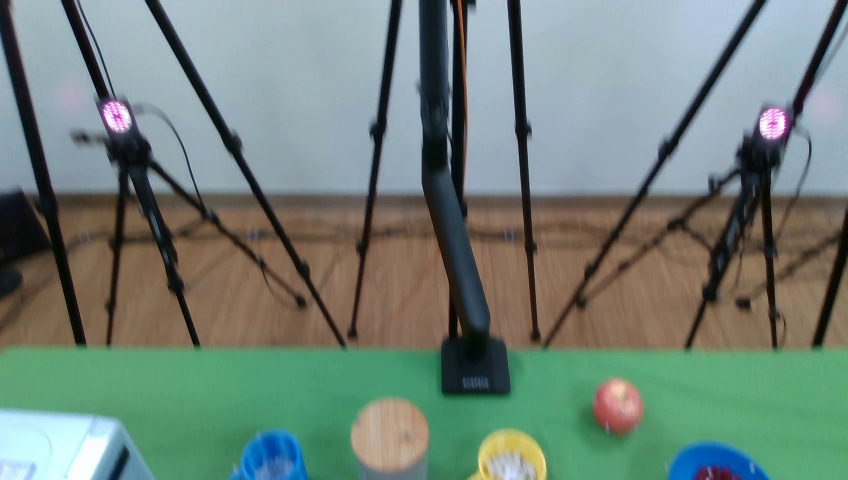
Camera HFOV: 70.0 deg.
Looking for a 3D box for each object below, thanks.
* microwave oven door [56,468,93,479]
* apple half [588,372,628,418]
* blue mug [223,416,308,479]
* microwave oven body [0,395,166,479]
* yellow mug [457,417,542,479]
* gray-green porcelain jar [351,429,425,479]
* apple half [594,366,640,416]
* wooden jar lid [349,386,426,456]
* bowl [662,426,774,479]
[{"bbox_3d":[-0.396,0.453,0.614,0.039,0.246,0.352,3,43,3],"label":"microwave oven door"},{"bbox_3d":[0.288,0.259,0.977,0.033,0.082,0.080,-21,47,-27],"label":"apple half"},{"bbox_3d":[-0.231,0.325,0.879,0.117,0.107,0.081,-18,46,-18],"label":"blue mug"},{"bbox_3d":[-0.539,0.420,0.655,0.326,0.262,0.437,3,44,2],"label":"microwave oven body"},{"bbox_3d":[0.109,0.331,0.906,0.131,0.064,0.099,-17,46,-16],"label":"yellow mug"},{"bbox_3d":[-0.051,0.301,0.892,0.106,0.127,0.105,0,43,0],"label":"gray-green porcelain jar"},{"bbox_3d":[0.320,0.245,0.994,0.053,0.075,0.080,-19,43,-27],"label":"apple half"},{"bbox_3d":[-0.051,0.255,0.849,0.108,0.021,0.107,0,41,0],"label":"wooden jar lid"},{"bbox_3d":[0.413,0.355,0.874,0.151,0.077,0.150,0,44,0],"label":"bowl"}]
